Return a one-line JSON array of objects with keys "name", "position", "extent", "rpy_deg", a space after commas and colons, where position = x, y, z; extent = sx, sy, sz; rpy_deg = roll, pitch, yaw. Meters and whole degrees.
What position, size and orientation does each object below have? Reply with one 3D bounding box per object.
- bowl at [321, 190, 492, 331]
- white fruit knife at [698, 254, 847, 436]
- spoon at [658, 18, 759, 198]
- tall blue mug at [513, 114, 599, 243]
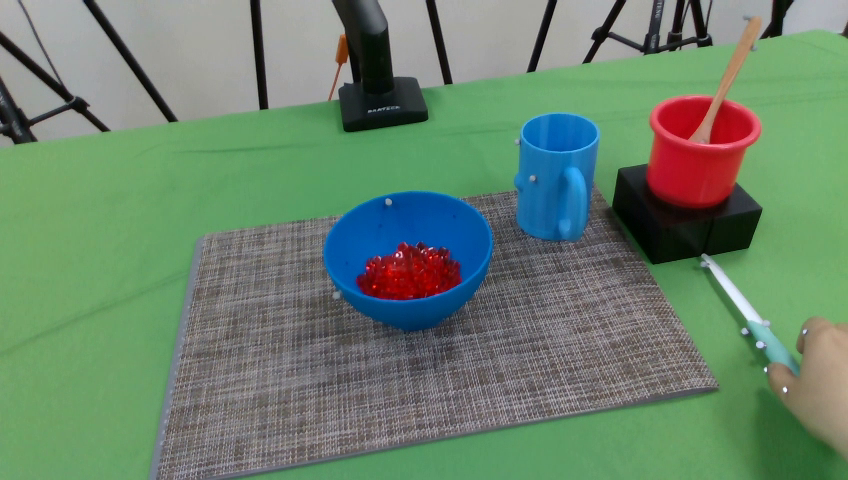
[{"name": "bowl", "position": [-0.013, 0.030, 0.556], "extent": [0.151, 0.077, 0.150], "rpy_deg": [-3, 41, 3]}, {"name": "white fruit knife", "position": [0.291, 0.079, 0.526], "extent": [0.027, 0.016, 0.205], "rpy_deg": [13, 34, -21]}, {"name": "spoon", "position": [0.282, -0.129, 0.589], "extent": [0.041, 0.022, 0.194], "rpy_deg": [26, 94, 33]}, {"name": "tall blue mug", "position": [0.143, -0.056, 0.615], "extent": [0.078, 0.109, 0.106], "rpy_deg": [-28, 45, -25]}]
